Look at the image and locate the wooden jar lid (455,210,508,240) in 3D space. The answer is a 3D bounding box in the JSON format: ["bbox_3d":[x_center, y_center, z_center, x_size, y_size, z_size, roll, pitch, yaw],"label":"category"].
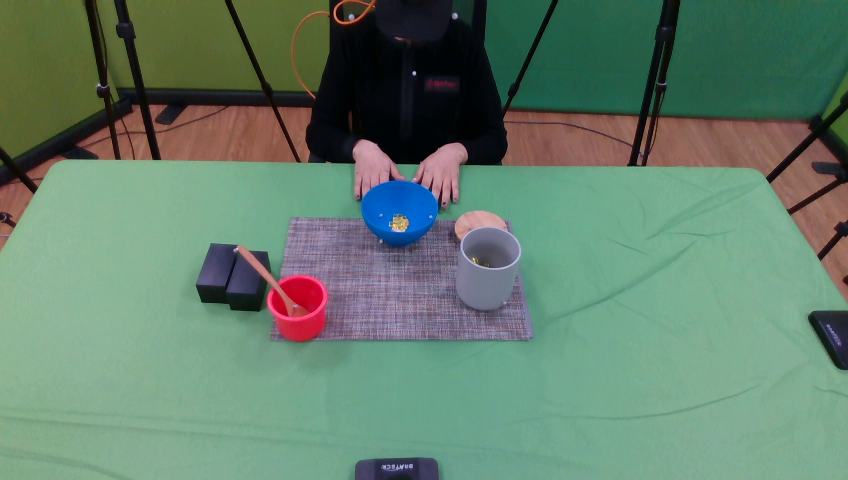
[{"bbox_3d":[0.115,-0.018,1.220,0.108,0.021,0.107,3,47,-3],"label":"wooden jar lid"}]

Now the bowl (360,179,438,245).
[{"bbox_3d":[-0.049,-0.042,1.190,0.151,0.077,0.150,2,46,-2],"label":"bowl"}]

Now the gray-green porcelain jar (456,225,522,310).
[{"bbox_3d":[0.111,0.054,1.076,0.106,0.127,0.105,2,46,-2],"label":"gray-green porcelain jar"}]

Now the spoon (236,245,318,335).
[{"bbox_3d":[-0.245,0.082,1.011,0.041,0.021,0.194,-46,108,-36],"label":"spoon"}]
